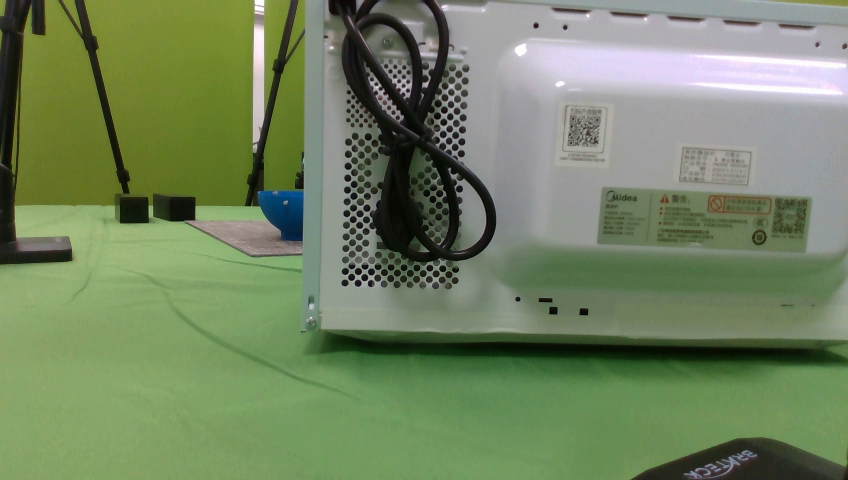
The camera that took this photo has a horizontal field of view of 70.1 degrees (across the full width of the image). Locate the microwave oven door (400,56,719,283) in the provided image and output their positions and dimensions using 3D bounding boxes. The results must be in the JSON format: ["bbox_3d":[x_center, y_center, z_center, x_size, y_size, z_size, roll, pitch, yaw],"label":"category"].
[{"bbox_3d":[0.155,-0.077,0.698,0.356,0.243,0.039,2,8,-5],"label":"microwave oven door"}]

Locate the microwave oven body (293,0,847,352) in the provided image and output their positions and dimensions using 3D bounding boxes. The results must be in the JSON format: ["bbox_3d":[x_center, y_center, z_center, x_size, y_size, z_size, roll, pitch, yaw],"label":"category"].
[{"bbox_3d":[0.122,-0.055,0.550,0.442,0.260,0.325,3,7,-5],"label":"microwave oven body"}]

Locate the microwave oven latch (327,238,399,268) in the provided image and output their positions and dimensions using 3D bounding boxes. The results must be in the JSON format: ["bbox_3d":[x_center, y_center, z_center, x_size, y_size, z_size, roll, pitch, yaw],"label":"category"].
[{"bbox_3d":[-0.069,0.015,0.694,0.079,0.029,0.030,3,7,-3],"label":"microwave oven latch"}]

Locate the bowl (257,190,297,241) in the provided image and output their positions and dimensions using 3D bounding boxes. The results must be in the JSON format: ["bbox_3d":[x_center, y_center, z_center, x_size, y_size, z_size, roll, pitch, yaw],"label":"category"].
[{"bbox_3d":[-0.206,-0.041,1.027,0.151,0.077,0.151,3,8,0],"label":"bowl"}]

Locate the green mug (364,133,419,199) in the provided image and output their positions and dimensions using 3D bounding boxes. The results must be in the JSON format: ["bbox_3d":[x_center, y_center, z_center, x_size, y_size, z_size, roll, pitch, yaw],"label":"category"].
[{"bbox_3d":[-0.055,-0.125,1.029,0.093,0.105,0.125,3,7,-9],"label":"green mug"}]
